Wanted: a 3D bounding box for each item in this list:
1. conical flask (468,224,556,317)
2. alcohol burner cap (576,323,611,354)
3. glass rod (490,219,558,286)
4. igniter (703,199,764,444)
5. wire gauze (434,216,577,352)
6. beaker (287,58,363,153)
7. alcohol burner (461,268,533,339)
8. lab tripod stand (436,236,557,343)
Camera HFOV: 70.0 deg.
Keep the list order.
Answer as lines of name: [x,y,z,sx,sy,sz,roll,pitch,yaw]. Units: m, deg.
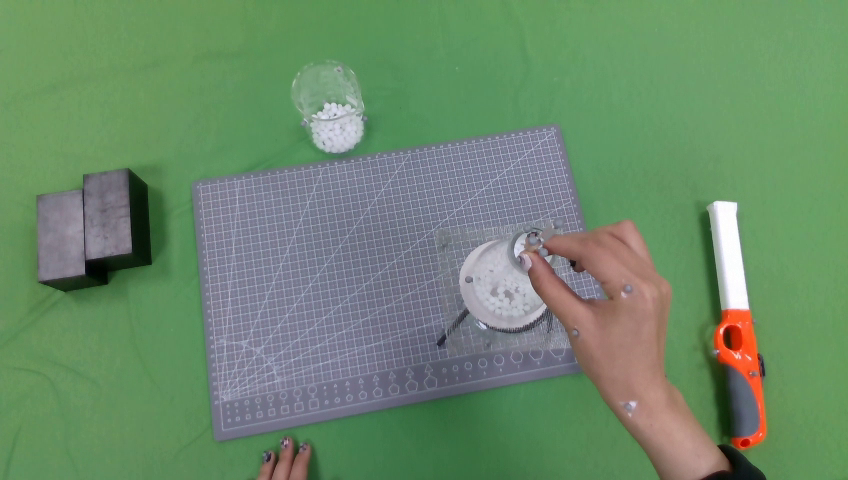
conical flask: [0.079,0.021,0.507,0.075,0.122,0.075,0,76,-1]
alcohol burner cap: [0.188,0.106,0.663,0.034,0.048,0.033,0,74,-1]
glass rod: [0.070,0.015,0.457,0.008,0.200,0.008,1,75,-4]
igniter: [0.347,0.086,0.683,0.057,0.025,0.275,4,74,-11]
wire gauze: [0.075,0.041,0.562,0.125,0.011,0.121,-4,77,-4]
beaker: [-0.107,-0.149,0.699,0.084,0.100,0.074,25,76,5]
alcohol burner: [0.078,0.064,0.635,0.078,0.119,0.077,0,75,1]
lab tripod stand: [0.077,0.060,0.626,0.148,0.132,0.147,0,76,-1]
